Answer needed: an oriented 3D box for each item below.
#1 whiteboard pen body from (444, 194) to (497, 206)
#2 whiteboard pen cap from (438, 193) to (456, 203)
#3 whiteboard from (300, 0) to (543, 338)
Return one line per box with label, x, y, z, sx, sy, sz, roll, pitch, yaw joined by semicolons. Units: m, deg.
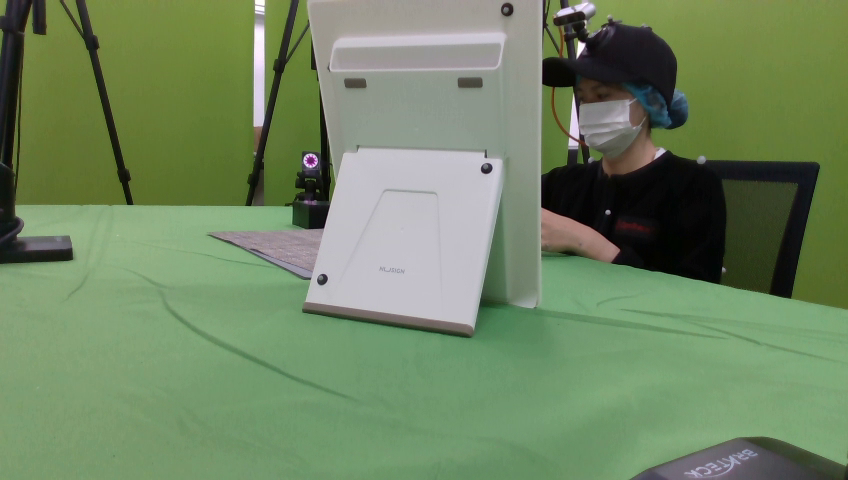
whiteboard pen body;0.086;-0.074;1.105;0.141;0.017;0.017;1;7;-44
whiteboard pen cap;0.042;-0.074;1.062;0.033;0.018;0.018;1;7;-44
whiteboard;-0.020;-0.050;0.523;0.216;0.305;0.144;6;27;22
